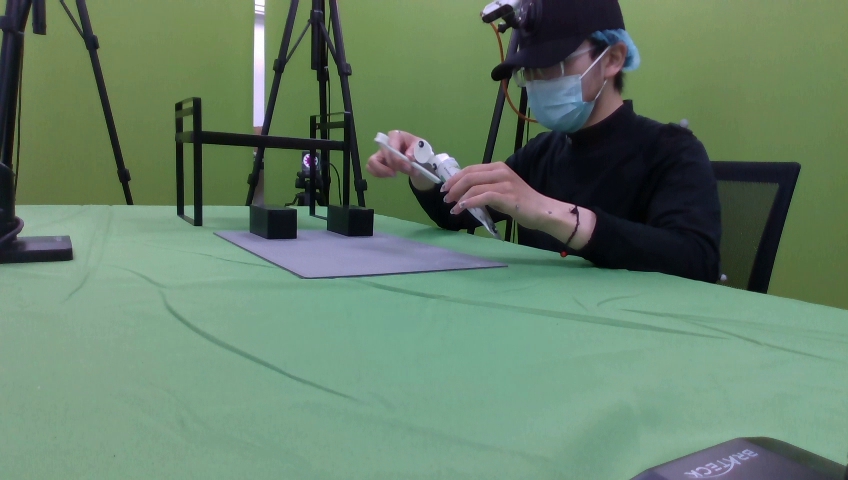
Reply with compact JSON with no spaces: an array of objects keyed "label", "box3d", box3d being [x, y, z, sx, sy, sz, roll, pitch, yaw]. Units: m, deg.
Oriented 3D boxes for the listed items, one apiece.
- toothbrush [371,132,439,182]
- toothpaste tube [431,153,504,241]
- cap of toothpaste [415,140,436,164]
[{"label":"toothbrush","box3d":[-0.026,-0.135,1.008,0.014,0.016,0.183,6,-14,37]},{"label":"toothpaste tube","box3d":[0.061,-0.067,0.872,0.164,0.034,0.055,55,18,25]},{"label":"cap of toothpaste","box3d":[0.002,-0.131,0.898,0.037,0.037,0.011,9,17,40]}]
